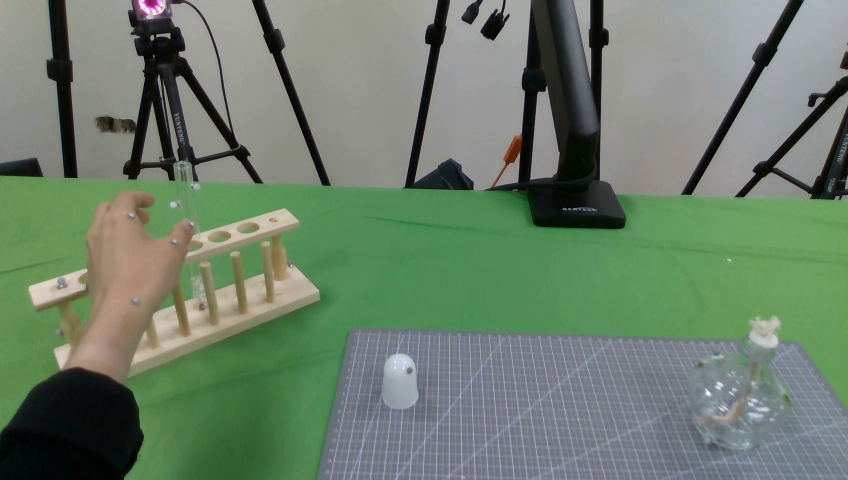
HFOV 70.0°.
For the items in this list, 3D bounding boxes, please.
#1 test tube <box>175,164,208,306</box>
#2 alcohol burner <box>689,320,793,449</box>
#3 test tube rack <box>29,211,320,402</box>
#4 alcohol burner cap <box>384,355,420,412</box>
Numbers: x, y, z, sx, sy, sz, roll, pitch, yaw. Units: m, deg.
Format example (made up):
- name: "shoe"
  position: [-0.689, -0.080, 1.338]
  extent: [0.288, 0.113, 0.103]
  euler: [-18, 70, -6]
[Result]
- name: "test tube"
  position: [-0.223, 0.000, 0.584]
  extent: [0.017, 0.151, 0.017]
  euler: [3, 28, -1]
- name: "alcohol burner"
  position: [0.256, 0.109, 0.481]
  extent: [0.078, 0.120, 0.077]
  euler: [1, 35, 0]
- name: "test tube rack"
  position: [-0.227, 0.055, 0.589]
  extent: [0.243, 0.086, 0.066]
  euler: [-21, 38, -31]
- name: "alcohol burner cap"
  position: [-0.020, 0.121, 0.524]
  extent: [0.034, 0.048, 0.033]
  euler: [1, 33, 0]
